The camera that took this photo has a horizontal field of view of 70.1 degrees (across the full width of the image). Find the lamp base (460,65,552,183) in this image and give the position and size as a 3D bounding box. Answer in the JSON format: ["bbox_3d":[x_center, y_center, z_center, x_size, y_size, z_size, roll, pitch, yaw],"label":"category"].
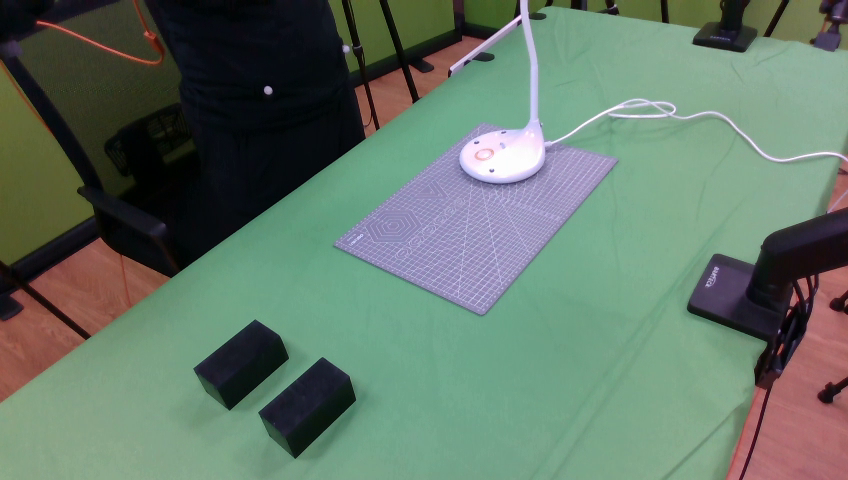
[{"bbox_3d":[0.149,-0.218,1.078,0.180,0.181,0.159,-19,41,-17],"label":"lamp base"}]
